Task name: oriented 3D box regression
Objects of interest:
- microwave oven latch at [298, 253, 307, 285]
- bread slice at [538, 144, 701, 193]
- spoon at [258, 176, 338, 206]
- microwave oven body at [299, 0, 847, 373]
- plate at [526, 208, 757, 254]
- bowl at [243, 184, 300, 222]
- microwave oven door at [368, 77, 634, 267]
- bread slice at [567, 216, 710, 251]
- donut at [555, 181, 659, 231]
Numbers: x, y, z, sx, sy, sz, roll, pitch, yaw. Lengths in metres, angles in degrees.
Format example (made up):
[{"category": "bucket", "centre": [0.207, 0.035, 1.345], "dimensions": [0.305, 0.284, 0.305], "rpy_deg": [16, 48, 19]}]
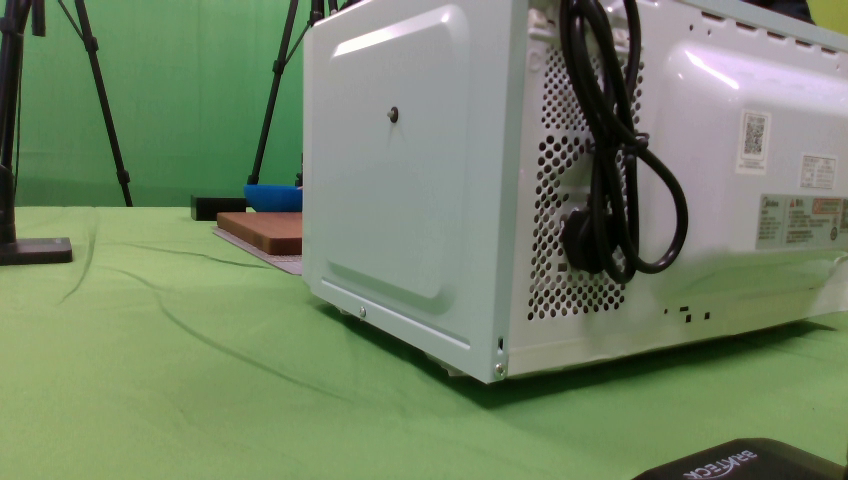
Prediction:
[{"category": "microwave oven latch", "centre": [-0.081, 0.027, 0.583], "dimensions": [0.079, 0.029, 0.030], "rpy_deg": [-1, 7, -32]}, {"category": "bread slice", "centre": [0.190, -0.069, 0.576], "dimensions": [0.107, 0.018, 0.133], "rpy_deg": [1, 17, -30]}, {"category": "spoon", "centre": [-0.279, -0.112, 1.356], "dimensions": [0.194, 0.021, 0.041], "rpy_deg": [-27, 20, -27]}, {"category": "microwave oven body", "centre": [0.151, -0.055, 0.543], "dimensions": [0.444, 0.260, 0.324], "rpy_deg": [-2, 7, -33]}, {"category": "plate", "centre": [0.203, -0.010, 0.584], "dimensions": [0.208, 0.039, 0.207], "rpy_deg": [1, 3, 0]}, {"category": "bowl", "centre": [-0.322, -0.081, 1.334], "dimensions": [0.151, 0.077, 0.151], "rpy_deg": [3, 7, 0]}, {"category": "microwave oven door", "centre": [0.094, -0.099, 0.832], "dimensions": [0.355, 0.243, 0.039], "rpy_deg": [5, 7, 18]}, {"category": "bread slice", "centre": [0.207, -0.008, 0.576], "dimensions": [0.105, 0.019, 0.131], "rpy_deg": [2, 8, -6]}, {"category": "donut", "centre": [0.180, -0.033, 0.598], "dimensions": [0.099, 0.048, 0.099], "rpy_deg": [-2, 7, 1]}]
